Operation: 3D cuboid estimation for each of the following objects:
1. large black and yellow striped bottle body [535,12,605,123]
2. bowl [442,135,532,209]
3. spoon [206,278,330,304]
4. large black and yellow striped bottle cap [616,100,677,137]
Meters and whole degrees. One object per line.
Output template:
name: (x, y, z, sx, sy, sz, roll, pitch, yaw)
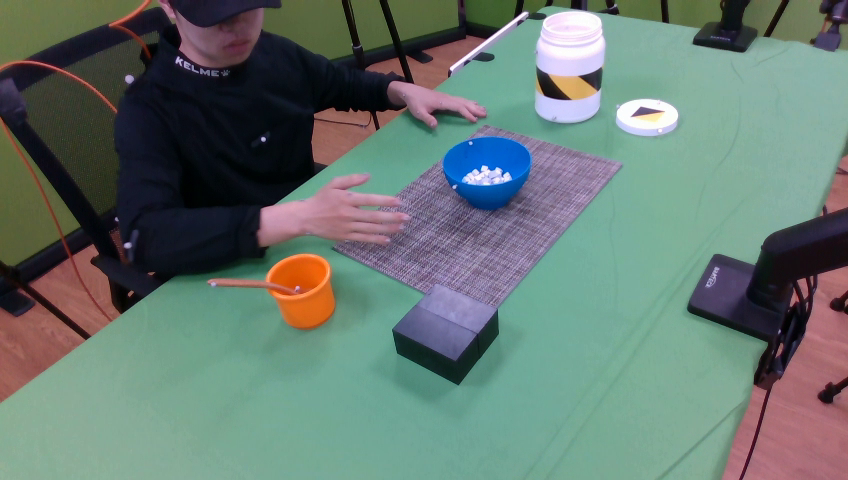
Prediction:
large black and yellow striped bottle body: (0.287, -0.341, 1.197, 0.131, 0.185, 0.130, -4, 41, 4)
bowl: (0.108, -0.106, 1.026, 0.151, 0.077, 0.150, -4, 41, 4)
spoon: (-0.207, 0.066, 0.824, 0.041, 0.195, 0.021, 34, 100, 41)
large black and yellow striped bottle cap: (0.438, -0.241, 1.190, 0.115, 0.019, 0.114, -4, 42, 4)
